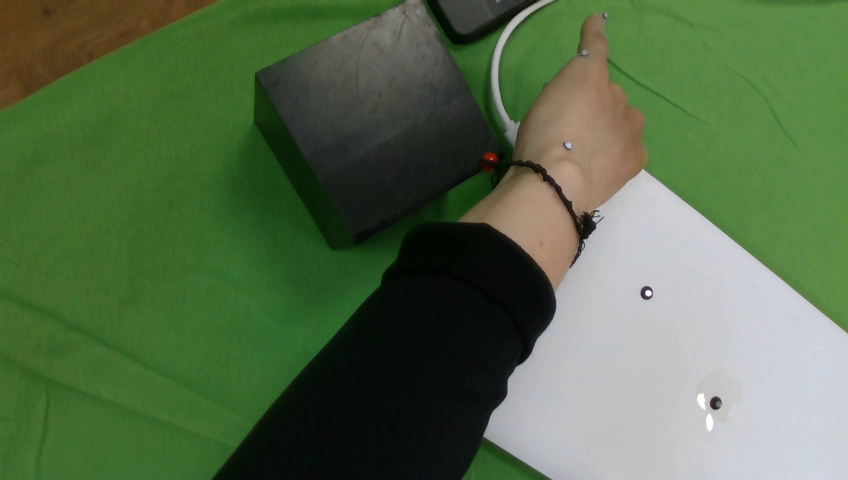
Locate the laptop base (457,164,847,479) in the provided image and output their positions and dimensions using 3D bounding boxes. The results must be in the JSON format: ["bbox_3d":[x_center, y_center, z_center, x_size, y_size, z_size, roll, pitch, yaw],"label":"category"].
[{"bbox_3d":[0.221,0.129,0.494,0.356,0.023,0.235,34,82,-12],"label":"laptop base"}]

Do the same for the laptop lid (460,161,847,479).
[{"bbox_3d":[0.224,0.130,0.480,0.358,0.013,0.241,36,81,-13],"label":"laptop lid"}]

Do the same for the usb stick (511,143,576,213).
[{"bbox_3d":[0.093,-0.043,0.448,0.021,0.027,0.059,-43,103,0],"label":"usb stick"}]
